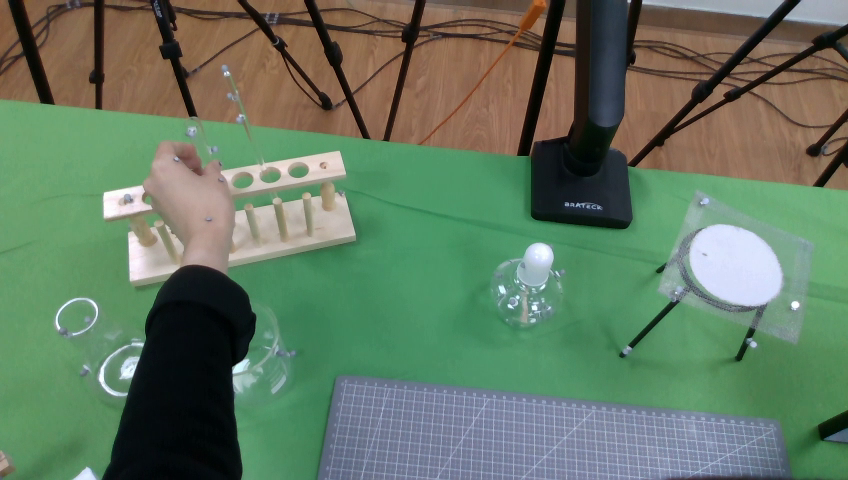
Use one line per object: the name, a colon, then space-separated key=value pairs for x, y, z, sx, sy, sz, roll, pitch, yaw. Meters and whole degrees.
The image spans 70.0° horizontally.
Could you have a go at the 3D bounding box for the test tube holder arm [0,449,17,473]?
test tube holder arm: x=-0.377 y=0.202 z=0.488 sx=0.088 sy=0.015 sz=0.010 roll=-33 pitch=65 yaw=-22

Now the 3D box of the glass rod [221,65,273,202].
glass rod: x=-0.175 y=-0.094 z=0.621 sx=0.008 sy=0.201 sz=0.008 roll=-2 pitch=52 yaw=2

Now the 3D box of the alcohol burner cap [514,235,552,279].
alcohol burner cap: x=0.108 y=0.014 z=0.592 sx=0.034 sy=0.048 sz=0.033 roll=2 pitch=57 yaw=-3

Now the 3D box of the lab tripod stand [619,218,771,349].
lab tripod stand: x=0.276 y=0.051 z=0.611 sx=0.148 sy=0.132 sz=0.147 roll=2 pitch=57 yaw=-4

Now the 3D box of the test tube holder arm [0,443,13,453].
test tube holder arm: x=-0.415 y=0.222 z=0.473 sx=0.178 sy=0.015 sz=0.013 roll=-34 pitch=66 yaw=-22

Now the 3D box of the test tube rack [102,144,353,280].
test tube rack: x=-0.204 y=-0.031 z=0.658 sx=0.243 sy=0.086 sz=0.066 roll=-12 pitch=59 yaw=-11

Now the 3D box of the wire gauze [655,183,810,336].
wire gauze: x=0.287 y=0.014 z=0.554 sx=0.121 sy=0.011 sz=0.124 roll=25 pitch=61 yaw=10

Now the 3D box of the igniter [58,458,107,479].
igniter: x=-0.374 y=0.263 z=0.447 sx=0.276 sy=0.025 sz=0.057 roll=-34 pitch=68 yaw=-25

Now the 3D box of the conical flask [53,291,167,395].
conical flask: x=-0.293 y=0.090 z=0.557 sx=0.075 sy=0.123 sz=0.074 roll=1 pitch=58 yaw=-2

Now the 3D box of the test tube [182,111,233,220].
test tube: x=-0.220 y=-0.071 z=0.623 sx=0.017 sy=0.151 sz=0.017 roll=1 pitch=53 yaw=-1

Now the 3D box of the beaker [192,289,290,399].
beaker: x=-0.168 y=0.105 z=0.570 sx=0.074 sy=0.101 sz=0.083 roll=19 pitch=60 yaw=9

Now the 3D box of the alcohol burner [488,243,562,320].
alcohol burner: x=0.107 y=0.034 z=0.622 sx=0.078 sy=0.120 sz=0.077 roll=2 pitch=57 yaw=-3
